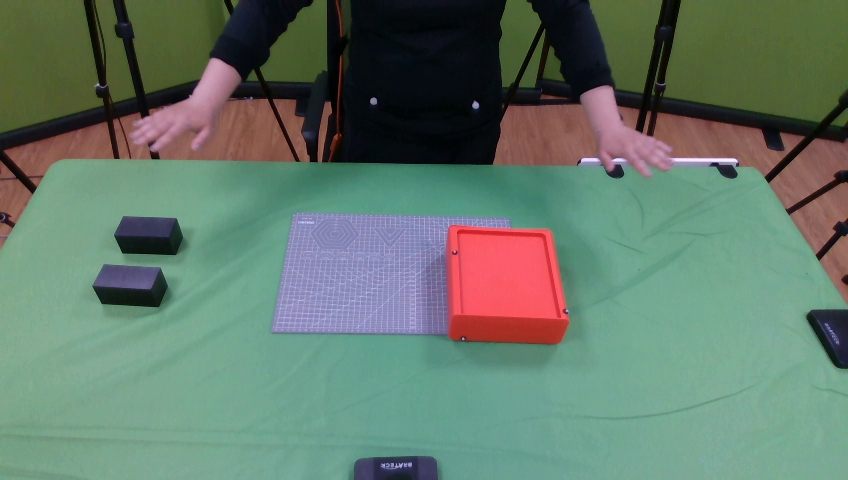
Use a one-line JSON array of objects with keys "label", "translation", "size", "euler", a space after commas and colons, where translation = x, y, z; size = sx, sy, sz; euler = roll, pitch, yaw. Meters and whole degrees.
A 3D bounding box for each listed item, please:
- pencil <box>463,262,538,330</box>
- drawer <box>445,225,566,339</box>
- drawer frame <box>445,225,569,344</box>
[{"label": "pencil", "translation": [0.135, 0.098, 1.098], "size": [0.012, 0.012, 0.193], "euler": [-29, 54, -28]}, {"label": "drawer", "translation": [0.139, 0.073, 1.093], "size": [0.194, 0.073, 0.210], "euler": [3, 47, -3]}, {"label": "drawer frame", "translation": [0.141, 0.076, 1.089], "size": [0.202, 0.083, 0.212], "euler": [3, 47, -4]}]
